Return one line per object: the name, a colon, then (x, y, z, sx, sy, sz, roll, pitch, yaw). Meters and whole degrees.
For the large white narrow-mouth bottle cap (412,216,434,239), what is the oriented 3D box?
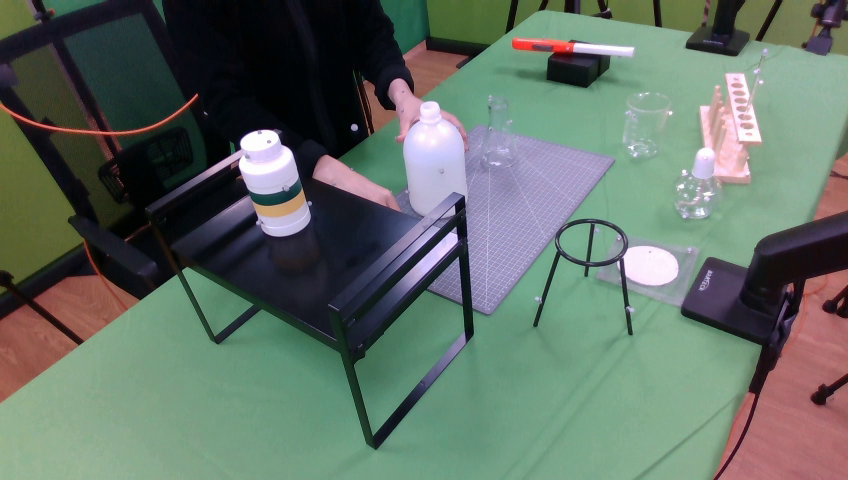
large white narrow-mouth bottle cap: (-0.002, -0.021, 0.994, 0.038, 0.024, 0.037, -3, 39, 3)

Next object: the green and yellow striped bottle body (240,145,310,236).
green and yellow striped bottle body: (-0.181, -0.069, 0.729, 0.063, 0.120, 0.063, -4, 40, 4)

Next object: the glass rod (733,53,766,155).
glass rod: (0.540, -0.220, 1.007, 0.008, 0.201, 0.008, -5, 45, 6)

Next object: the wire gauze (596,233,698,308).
wire gauze: (0.331, 0.038, 0.897, 0.124, 0.011, 0.121, 18, 47, 26)

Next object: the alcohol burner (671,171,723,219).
alcohol burner: (0.434, -0.093, 0.955, 0.078, 0.119, 0.077, -3, 43, 4)

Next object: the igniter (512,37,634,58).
igniter: (0.328, -0.433, 1.360, 0.275, 0.025, 0.057, 12, 33, 20)

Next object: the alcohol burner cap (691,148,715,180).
alcohol burner cap: (0.432, -0.120, 0.930, 0.034, 0.048, 0.033, -7, 48, 8)

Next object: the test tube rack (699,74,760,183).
test tube rack: (0.547, -0.208, 1.095, 0.066, 0.085, 0.242, 6, 42, 16)

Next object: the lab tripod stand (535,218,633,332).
lab tripod stand: (0.215, 0.050, 0.803, 0.148, 0.132, 0.147, -4, 42, 4)

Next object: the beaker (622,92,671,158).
beaker: (0.402, -0.210, 1.106, 0.074, 0.101, 0.083, -9, 40, -2)

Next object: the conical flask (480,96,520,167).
conical flask: (0.138, -0.201, 1.111, 0.075, 0.122, 0.075, -4, 40, 4)

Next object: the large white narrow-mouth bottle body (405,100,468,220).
large white narrow-mouth bottle body: (0.019, -0.136, 0.998, 0.102, 0.195, 0.101, -3, 39, 3)

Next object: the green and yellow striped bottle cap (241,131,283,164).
green and yellow striped bottle cap: (-0.187, -0.107, 0.695, 0.045, 0.020, 0.045, -3, 39, 3)
